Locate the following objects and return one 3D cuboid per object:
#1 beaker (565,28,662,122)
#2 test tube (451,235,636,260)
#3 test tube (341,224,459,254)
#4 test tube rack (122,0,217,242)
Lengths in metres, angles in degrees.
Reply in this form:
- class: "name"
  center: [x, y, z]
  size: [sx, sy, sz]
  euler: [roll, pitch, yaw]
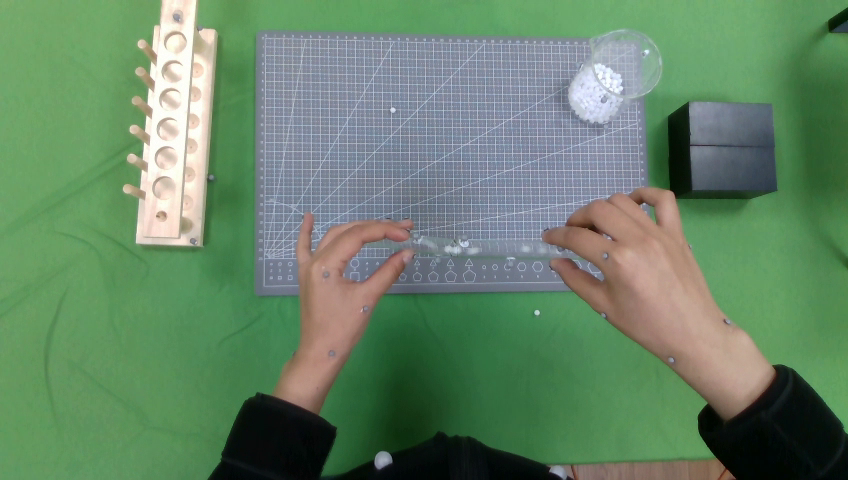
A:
- class: "beaker"
  center: [0.200, -0.178, 0.667]
  size: [0.084, 0.100, 0.074]
  euler: [37, 82, 1]
- class: "test tube"
  center: [0.097, 0.006, 0.490]
  size: [0.150, 0.017, 0.017]
  euler: [2, 84, -2]
- class: "test tube"
  center: [-0.027, -0.002, 0.542]
  size: [0.017, 0.149, 0.017]
  euler: [-7, 100, -44]
- class: "test tube rack"
  center: [-0.267, -0.123, 0.627]
  size: [0.067, 0.085, 0.241]
  euler: [3, 84, -5]
